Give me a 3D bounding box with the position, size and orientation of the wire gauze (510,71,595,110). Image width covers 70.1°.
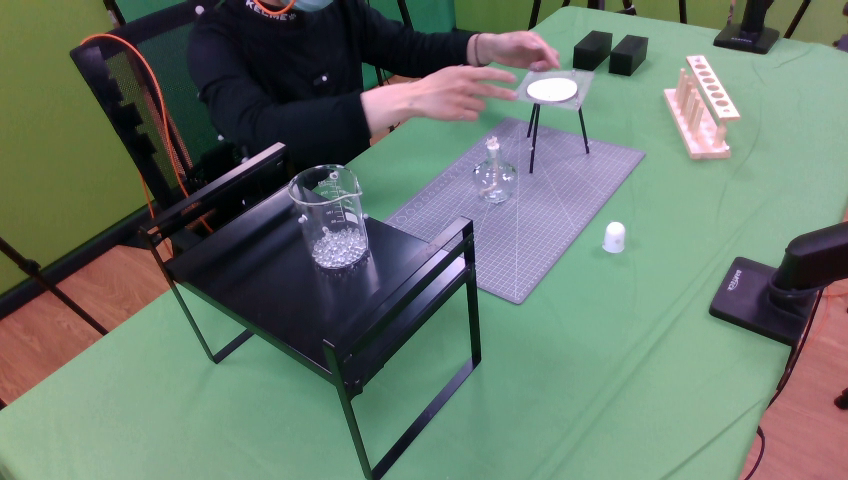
[{"bbox_3d":[0.224,-0.266,1.053,0.124,0.011,0.121,12,44,23],"label":"wire gauze"}]

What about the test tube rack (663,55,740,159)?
[{"bbox_3d":[0.518,-0.256,1.144,0.066,0.085,0.241,-1,41,8],"label":"test tube rack"}]

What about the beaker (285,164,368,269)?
[{"bbox_3d":[-0.101,-0.024,0.676,0.083,0.101,0.074,8,43,17],"label":"beaker"}]

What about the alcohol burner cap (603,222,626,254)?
[{"bbox_3d":[0.291,-0.006,0.921,0.034,0.048,0.033,-4,40,4],"label":"alcohol burner cap"}]

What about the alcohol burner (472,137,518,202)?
[{"bbox_3d":[0.121,-0.124,1.023,0.078,0.119,0.077,-3,42,3],"label":"alcohol burner"}]

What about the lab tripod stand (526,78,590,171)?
[{"bbox_3d":[0.228,-0.216,1.097,0.148,0.132,0.147,-6,40,5],"label":"lab tripod stand"}]
